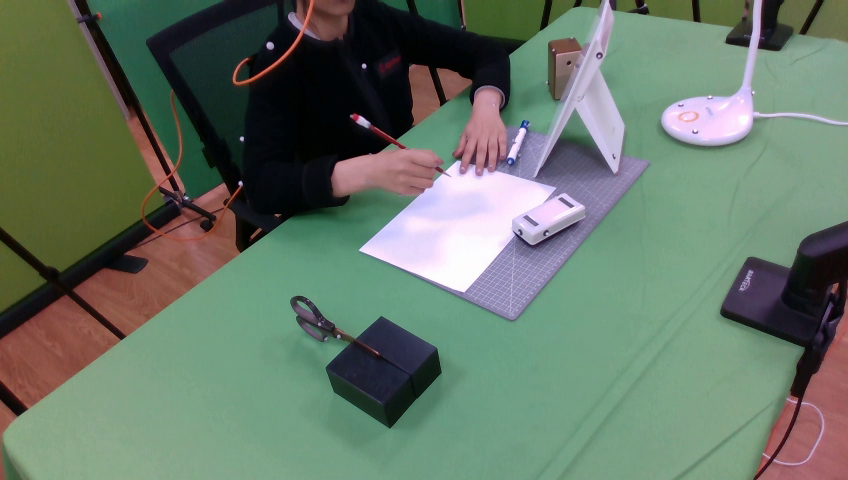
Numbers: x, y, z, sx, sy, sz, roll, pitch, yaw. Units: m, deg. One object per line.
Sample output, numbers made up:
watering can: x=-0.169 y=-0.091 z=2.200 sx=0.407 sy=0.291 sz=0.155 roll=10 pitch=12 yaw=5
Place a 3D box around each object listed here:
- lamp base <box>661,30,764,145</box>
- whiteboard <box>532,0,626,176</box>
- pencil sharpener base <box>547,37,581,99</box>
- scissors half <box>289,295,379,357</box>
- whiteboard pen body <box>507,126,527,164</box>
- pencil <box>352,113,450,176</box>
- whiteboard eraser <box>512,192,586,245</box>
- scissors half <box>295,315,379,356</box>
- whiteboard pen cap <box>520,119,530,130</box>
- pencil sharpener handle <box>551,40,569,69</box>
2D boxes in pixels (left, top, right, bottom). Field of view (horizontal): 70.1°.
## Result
lamp base: x=0.535 y=-0.287 z=1.096 sx=0.179 sy=0.181 sz=0.159 roll=-10 pitch=40 yaw=-4
whiteboard: x=0.321 y=-0.258 z=1.050 sx=0.144 sy=0.306 sz=0.217 roll=22 pitch=45 yaw=5
pencil sharpener base: x=0.299 y=-0.368 z=1.290 sx=0.061 sy=0.107 sz=0.076 roll=-8 pitch=40 yaw=2
scissors half: x=-0.122 y=0.114 z=0.803 sx=0.174 sy=0.040 sz=0.013 roll=26 pitch=50 yaw=32
whiteboard pen body: x=0.181 y=-0.190 z=1.162 sx=0.017 sy=0.017 sz=0.140 roll=8 pitch=43 yaw=19
pencil: x=-0.033 y=-0.151 z=0.980 sx=0.195 sy=0.012 sz=0.012 roll=29 pitch=37 yaw=-25
whiteboard eraser: x=0.199 y=-0.032 z=0.962 sx=0.113 sy=0.042 sz=0.055 roll=-27 pitch=42 yaw=-20
scissors half: x=-0.119 y=0.131 z=0.813 sx=0.173 sy=0.040 sz=0.013 roll=9 pitch=34 yaw=45
whiteboard pen cap: x=0.200 y=-0.226 z=1.204 sx=0.018 sy=0.018 sz=0.033 roll=6 pitch=41 yaw=17
pencil sharpener handle: x=0.291 y=-0.409 z=1.321 sx=0.036 sy=0.068 sz=0.030 roll=2 pitch=40 yaw=-6
